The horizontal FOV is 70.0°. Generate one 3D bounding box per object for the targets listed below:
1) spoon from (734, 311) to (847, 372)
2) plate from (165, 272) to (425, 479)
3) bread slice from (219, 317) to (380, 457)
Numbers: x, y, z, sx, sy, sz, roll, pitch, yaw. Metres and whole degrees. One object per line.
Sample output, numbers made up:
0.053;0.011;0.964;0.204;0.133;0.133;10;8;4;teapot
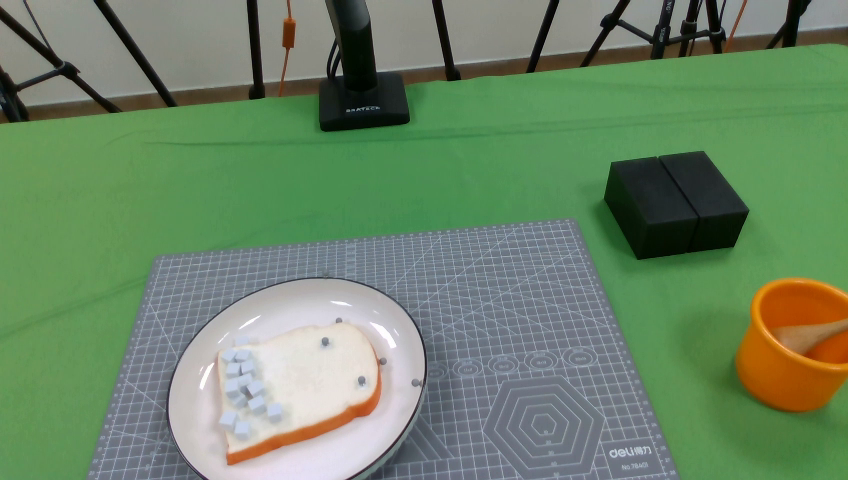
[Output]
0.330;0.054;0.460;0.193;0.022;0.041;-32;34;30;spoon
-0.102;0.114;0.501;0.209;0.038;0.207;-1;45;1;plate
-0.104;0.112;0.507;0.132;0.019;0.103;-16;47;-12;bread slice
